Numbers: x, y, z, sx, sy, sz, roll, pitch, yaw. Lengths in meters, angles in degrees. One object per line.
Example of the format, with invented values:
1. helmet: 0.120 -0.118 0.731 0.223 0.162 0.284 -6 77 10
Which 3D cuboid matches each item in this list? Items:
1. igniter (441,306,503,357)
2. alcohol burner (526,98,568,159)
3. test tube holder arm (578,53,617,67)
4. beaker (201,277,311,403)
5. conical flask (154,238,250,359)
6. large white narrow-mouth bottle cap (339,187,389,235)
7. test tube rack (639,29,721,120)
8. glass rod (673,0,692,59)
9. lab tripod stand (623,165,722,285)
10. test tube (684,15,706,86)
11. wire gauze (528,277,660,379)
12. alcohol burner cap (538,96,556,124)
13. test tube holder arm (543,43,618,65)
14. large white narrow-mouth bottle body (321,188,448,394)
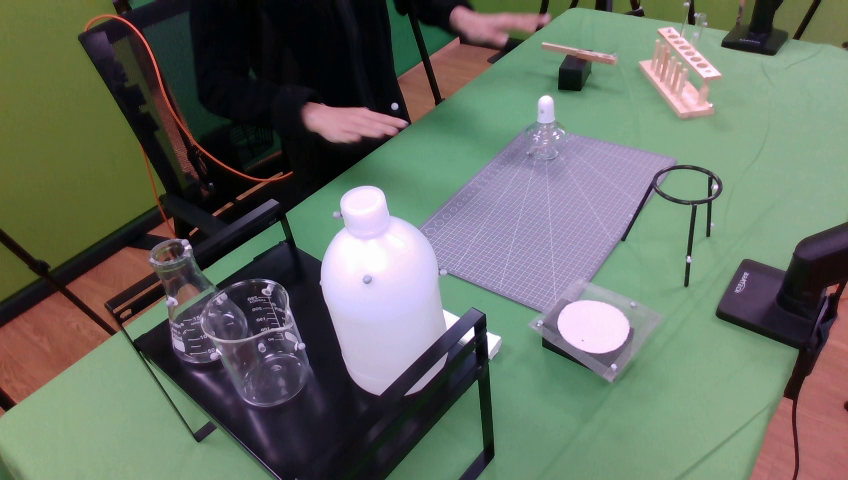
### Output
1. igniter: -0.008 0.093 0.870 0.274 0.025 0.057 24 60 33
2. alcohol burner: 0.228 -0.210 1.118 0.078 0.119 0.077 -5 43 5
3. test tube holder arm: 0.376 -0.393 1.314 0.087 0.015 0.010 26 51 32
4. beaker: -0.146 0.095 0.555 0.083 0.101 0.074 11 44 20
5. conical flask: -0.225 0.055 0.598 0.075 0.122 0.075 -5 41 4
6. large white narrow-mouth bottle cap: -0.046 -0.023 0.470 0.038 0.024 0.037 -4 40 4
7. test tube rack: 0.527 -0.351 1.262 0.067 0.085 0.241 -8 40 1
8. glass rod: 0.537 -0.437 1.258 0.008 0.200 0.008 0 39 1
9. lab tripod stand: 0.365 -0.030 0.874 0.148 0.132 0.147 -6 41 6
10. test tube: 0.541 -0.378 1.215 0.017 0.151 0.017 -2 44 3
11. wire gauze: 0.213 0.103 0.763 0.124 0.011 0.122 30 52 35
12. alcohol burner cap: 0.222 -0.237 1.095 0.034 0.048 0.033 -7 34 5
13. test tube holder arm: 0.344 -0.413 1.341 0.177 0.015 0.013 25 51 31
14. large white narrow-mouth bottle body: -0.035 0.041 0.527 0.102 0.195 0.101 -5 41 5
